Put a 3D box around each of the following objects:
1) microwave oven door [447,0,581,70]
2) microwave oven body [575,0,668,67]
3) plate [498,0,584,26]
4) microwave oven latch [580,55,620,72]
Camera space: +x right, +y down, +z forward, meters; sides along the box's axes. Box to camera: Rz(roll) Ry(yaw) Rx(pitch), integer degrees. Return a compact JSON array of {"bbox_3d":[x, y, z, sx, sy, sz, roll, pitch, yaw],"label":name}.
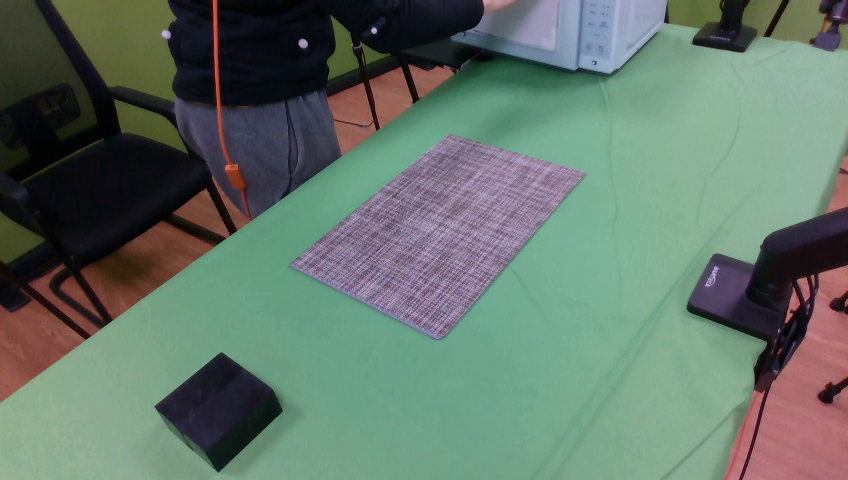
[{"bbox_3d":[0.198,-0.540,1.368,0.353,0.245,0.039,25,51,31],"label":"microwave oven door"},{"bbox_3d":[0.325,-0.609,1.438,0.438,0.261,0.327,23,50,30],"label":"microwave oven body"},{"bbox_3d":[0.287,-0.573,1.489,0.209,0.038,0.208,-5,40,5],"label":"plate"},{"bbox_3d":[0.386,-0.394,1.330,0.078,0.029,0.030,25,51,32],"label":"microwave oven latch"}]
